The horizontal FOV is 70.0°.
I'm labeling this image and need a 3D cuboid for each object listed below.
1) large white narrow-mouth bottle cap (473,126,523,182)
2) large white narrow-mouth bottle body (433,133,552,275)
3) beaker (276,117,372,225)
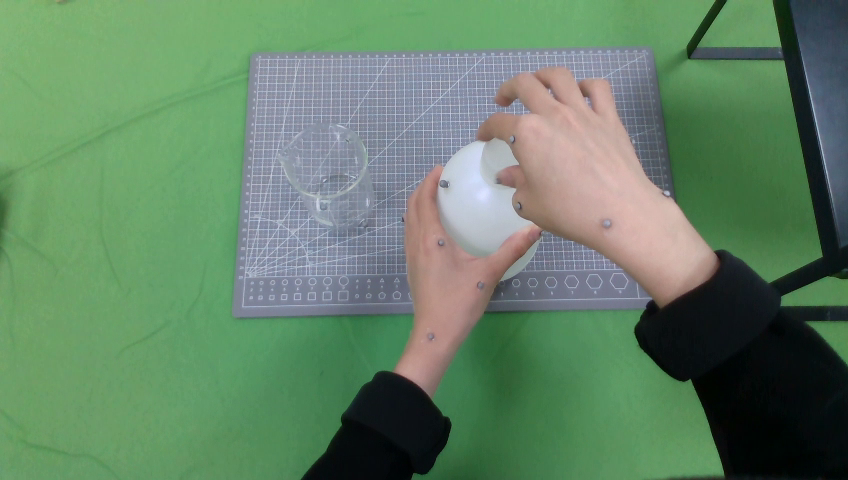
[{"bbox_3d":[0.054,-0.061,0.439,0.038,0.024,0.037,0,74,2],"label":"large white narrow-mouth bottle cap"},{"bbox_3d":[0.058,-0.036,0.526,0.102,0.195,0.101,0,74,2],"label":"large white narrow-mouth bottle body"},{"bbox_3d":[-0.091,-0.061,0.582,0.084,0.101,0.073,8,72,3],"label":"beaker"}]
